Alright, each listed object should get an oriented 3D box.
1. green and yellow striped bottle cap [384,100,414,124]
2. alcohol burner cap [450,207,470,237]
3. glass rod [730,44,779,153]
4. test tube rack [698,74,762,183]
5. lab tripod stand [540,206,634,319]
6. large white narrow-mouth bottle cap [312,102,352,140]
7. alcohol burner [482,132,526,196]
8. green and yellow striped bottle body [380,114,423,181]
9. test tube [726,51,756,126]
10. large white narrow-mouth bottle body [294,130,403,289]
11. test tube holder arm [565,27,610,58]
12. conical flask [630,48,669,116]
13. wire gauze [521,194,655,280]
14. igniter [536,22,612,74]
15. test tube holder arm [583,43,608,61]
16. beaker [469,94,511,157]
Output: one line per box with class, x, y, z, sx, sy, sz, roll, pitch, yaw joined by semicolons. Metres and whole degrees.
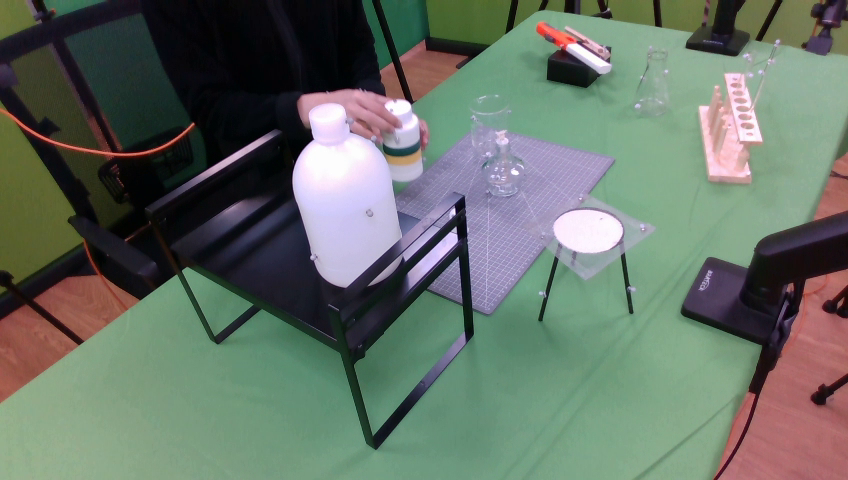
green and yellow striped bottle cap;-0.039;-0.199;0.938;0.045;0.020;0.045;-3;41;3
alcohol burner cap;0.057;-0.032;0.987;0.034;0.048;0.033;-4;41;4
glass rod;0.555;-0.234;1.020;0.008;0.200;0.008;2;40;-1
test tube rack;0.547;-0.208;1.095;0.066;0.085;0.242;5;42;15
lab tripod stand;0.218;0.034;0.821;0.148;0.132;0.147;-4;42;4
large white narrow-mouth bottle cap;-0.089;-0.114;0.579;0.038;0.024;0.037;-3;39;3
alcohol burner;0.137;-0.136;1.042;0.078;0.119;0.077;-4;43;4
green and yellow striped bottle body;-0.037;-0.160;0.972;0.063;0.120;0.063;-3;42;3
test tube;0.568;-0.268;1.086;0.017;0.151;0.017;-4;46;4
large white narrow-mouth bottle body;-0.082;-0.047;0.634;0.102;0.195;0.101;-4;39;4
test tube holder arm;0.369;-0.450;1.373;0.013;0.015;0.177;-39;41;10
conical flask;0.456;-0.317;1.205;0.075;0.122;0.075;-4;41;4
wire gauze;0.207;-0.012;0.772;0.122;0.011;0.124;-28;44;-20
igniter;0.330;-0.439;1.366;0.057;0.025;0.274;-11;41;-20
test tube holder arm;0.379;-0.420;1.341;0.010;0.015;0.087;-39;41;10
beaker;0.124;-0.216;1.148;0.074;0.101;0.083;-21;42;-16
